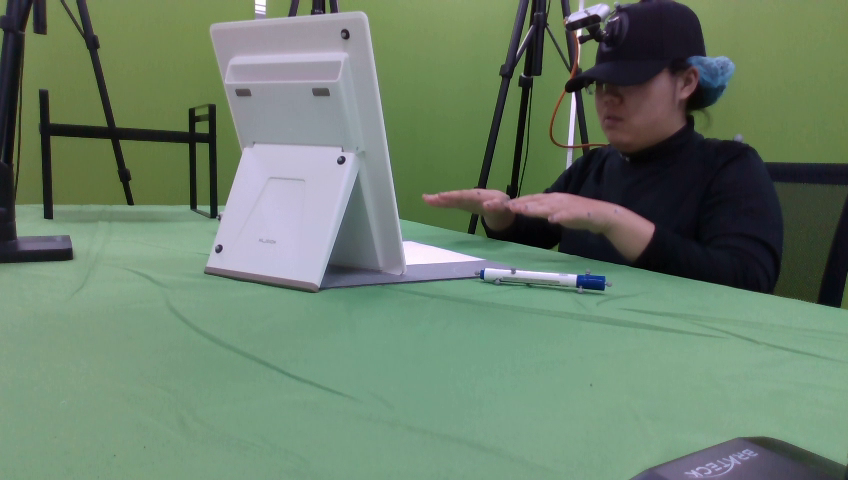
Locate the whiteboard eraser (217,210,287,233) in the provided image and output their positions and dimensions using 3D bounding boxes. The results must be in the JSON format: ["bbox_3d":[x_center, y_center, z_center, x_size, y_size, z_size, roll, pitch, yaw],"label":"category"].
[{"bbox_3d":[-0.310,-0.034,1.094,0.113,0.042,0.055,-2,11,-38],"label":"whiteboard eraser"}]

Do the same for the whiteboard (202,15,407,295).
[{"bbox_3d":[-0.167,-0.073,0.668,0.216,0.305,0.144,7,30,28],"label":"whiteboard"}]

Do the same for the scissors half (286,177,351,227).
[{"bbox_3d":[-0.232,-0.085,1.318,0.175,0.013,0.040,38,20,4],"label":"scissors half"}]

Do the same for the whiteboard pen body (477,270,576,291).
[{"bbox_3d":[0.131,0.048,0.706,0.140,0.017,0.017,4,8,18],"label":"whiteboard pen body"}]

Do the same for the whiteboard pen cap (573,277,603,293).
[{"bbox_3d":[0.186,0.051,0.687,0.033,0.018,0.018,4,8,18],"label":"whiteboard pen cap"}]

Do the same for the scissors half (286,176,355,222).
[{"bbox_3d":[-0.229,-0.091,1.337,0.175,0.013,0.040,33,15,-13],"label":"scissors half"}]
